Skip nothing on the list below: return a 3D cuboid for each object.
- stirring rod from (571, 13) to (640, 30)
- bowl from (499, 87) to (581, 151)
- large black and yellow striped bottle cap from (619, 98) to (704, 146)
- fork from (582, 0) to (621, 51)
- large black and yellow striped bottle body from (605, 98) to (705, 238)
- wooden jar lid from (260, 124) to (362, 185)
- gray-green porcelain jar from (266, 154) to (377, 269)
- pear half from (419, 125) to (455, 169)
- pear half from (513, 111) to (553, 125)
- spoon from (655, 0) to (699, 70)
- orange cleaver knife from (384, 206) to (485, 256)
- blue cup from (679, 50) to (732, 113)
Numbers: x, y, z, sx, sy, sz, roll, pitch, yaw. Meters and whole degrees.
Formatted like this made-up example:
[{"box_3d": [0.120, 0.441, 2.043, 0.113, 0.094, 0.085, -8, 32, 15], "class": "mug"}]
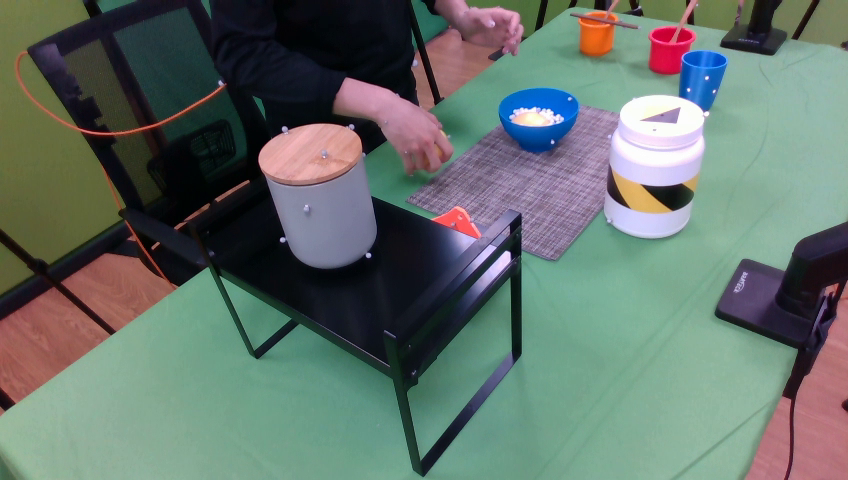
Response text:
[{"box_3d": [0.419, -0.508, 1.404, 0.174, 0.006, 0.014, 28, 55, 35], "class": "stirring rod"}, {"box_3d": [0.220, -0.223, 1.155, 0.151, 0.077, 0.150, -4, 40, 4], "class": "bowl"}, {"box_3d": [0.341, -0.172, 0.872, 0.115, 0.019, 0.114, -4, 39, 4], "class": "large black and yellow striped bottle cap"}, {"box_3d": [0.446, -0.539, 1.438, 0.207, 0.019, 0.028, -57, 36, 12], "class": "fork"}, {"box_3d": [0.352, -0.110, 0.928, 0.131, 0.185, 0.130, -5, 41, 5], "class": "large black and yellow striped bottle body"}, {"box_3d": [-0.119, -0.088, 0.644, 0.108, 0.021, 0.108, -4, 40, 3], "class": "wooden jar lid"}, {"box_3d": [-0.112, -0.039, 0.685, 0.106, 0.127, 0.105, -4, 40, 4], "class": "gray-green porcelain jar"}, {"box_3d": [0.028, -0.161, 1.087, 0.056, 0.110, 0.076, 17, 87, 9], "class": "pear half"}, {"box_3d": [0.212, -0.227, 1.152, 0.088, 0.031, 0.070, 7, 44, 10], "class": "pear half"}, {"box_3d": [0.567, -0.463, 1.337, 0.041, 0.022, 0.193, 30, 97, 38], "class": "spoon"}, {"box_3d": [0.012, -0.010, 0.942, 0.012, 0.077, 0.210, -36, 19, -35], "class": "orange cleaver knife"}, {"box_3d": [0.545, -0.309, 1.193, 0.092, 0.100, 0.092, -4, 39, 3], "class": "blue cup"}]
